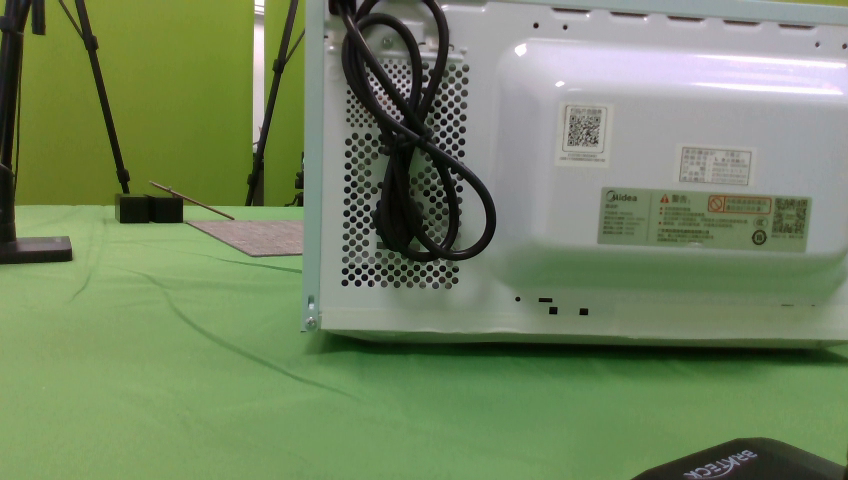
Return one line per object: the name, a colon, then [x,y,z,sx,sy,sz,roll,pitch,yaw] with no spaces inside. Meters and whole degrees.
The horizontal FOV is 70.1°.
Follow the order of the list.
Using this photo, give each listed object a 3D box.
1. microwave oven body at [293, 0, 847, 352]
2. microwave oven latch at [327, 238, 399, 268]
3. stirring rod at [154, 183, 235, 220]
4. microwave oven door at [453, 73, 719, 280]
microwave oven body: [0.122,-0.055,0.550,0.442,0.260,0.325,3,7,-5]
microwave oven latch: [-0.069,0.015,0.694,0.079,0.029,0.030,3,7,-3]
stirring rod: [-0.472,-0.079,1.252,0.177,0.006,0.014,27,3,-35]
microwave oven door: [0.195,-0.091,0.815,0.354,0.243,0.039,8,8,39]
